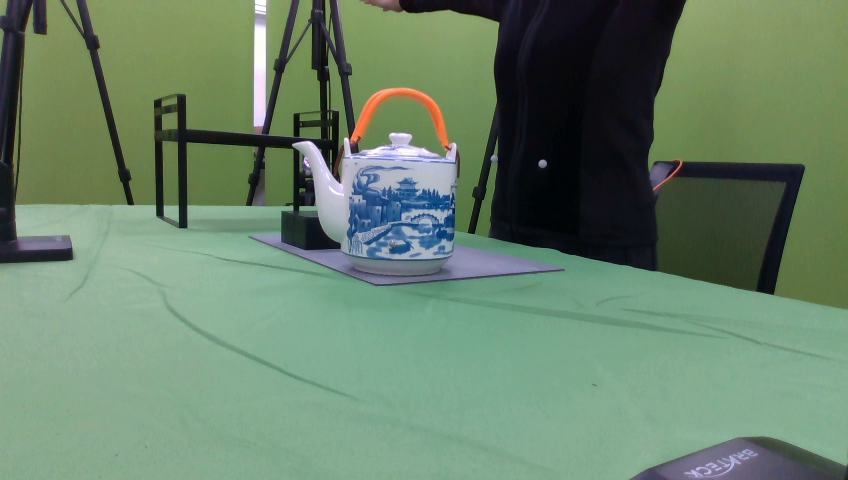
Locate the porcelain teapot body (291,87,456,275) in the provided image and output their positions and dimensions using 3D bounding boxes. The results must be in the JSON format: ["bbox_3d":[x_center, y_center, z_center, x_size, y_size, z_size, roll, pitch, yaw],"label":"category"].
[{"bbox_3d":[-0.061,-0.076,0.754,0.206,0.225,0.145,0,8,-12],"label":"porcelain teapot body"}]

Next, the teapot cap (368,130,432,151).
[{"bbox_3d":[-0.031,-0.115,0.754,0.085,0.044,0.085,1,11,0],"label":"teapot cap"}]
